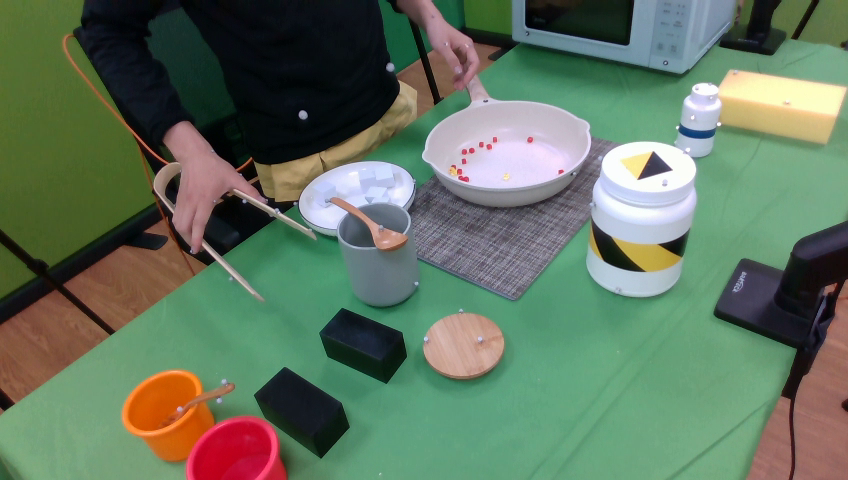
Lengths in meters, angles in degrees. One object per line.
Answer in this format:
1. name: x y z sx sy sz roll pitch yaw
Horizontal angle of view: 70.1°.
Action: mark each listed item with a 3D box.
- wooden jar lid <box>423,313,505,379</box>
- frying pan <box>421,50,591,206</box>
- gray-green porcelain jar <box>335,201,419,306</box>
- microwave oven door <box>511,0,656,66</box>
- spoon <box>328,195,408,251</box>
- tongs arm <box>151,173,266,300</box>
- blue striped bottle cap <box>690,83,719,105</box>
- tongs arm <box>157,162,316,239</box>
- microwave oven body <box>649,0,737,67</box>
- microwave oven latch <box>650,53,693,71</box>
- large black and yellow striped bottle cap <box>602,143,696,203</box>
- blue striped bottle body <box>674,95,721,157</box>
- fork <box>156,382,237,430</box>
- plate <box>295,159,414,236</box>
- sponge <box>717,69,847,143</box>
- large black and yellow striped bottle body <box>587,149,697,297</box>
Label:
1. wooden jar lid: 0.053 0.142 0.800 0.108 0.021 0.108 -5 39 4
2. frying pan: 0.127 -0.233 1.155 0.307 0.103 0.484 -11 49 -5
3. gray-green porcelain jar: -0.064 0.024 0.872 0.106 0.127 0.105 -4 41 4
4. microwave oven door: 0.351 -0.539 1.349 0.353 0.245 0.039 24 50 31
5. spoon: -0.083 -0.029 0.829 0.042 0.022 0.192 -32 43 -21
6. tongs arm: -0.345 -0.013 0.938 0.384 0.028 0.028 35 84 37
7. blue striped bottle cap: 0.482 -0.251 1.038 0.044 0.021 0.044 -5 40 5
8. tongs arm: -0.308 -0.061 0.951 0.381 0.027 0.051 27 76 36
9. microwave oven body: 0.475 -0.602 1.411 0.438 0.261 0.327 23 50 32
10. microwave oven latch: 0.531 -0.386 1.301 0.078 0.029 0.030 26 51 33
11. large black and yellow striped bottle cap: 0.289 -0.088 0.779 0.115 0.019 0.114 -5 39 4
12. blue striped bottle body: 0.486 -0.213 1.071 0.063 0.121 0.063 -4 41 4
13. fork: -0.262 0.189 0.690 0.018 0.206 0.028 49 43 -7
14. plate: -0.118 -0.070 1.055 0.207 0.039 0.206 -5 39 5
15. sponge: 0.663 -0.256 1.142 0.205 0.061 0.118 19 47 28
16. large black and yellow striped bottle body: 0.298 -0.026 0.835 0.131 0.185 0.130 -4 41 4
